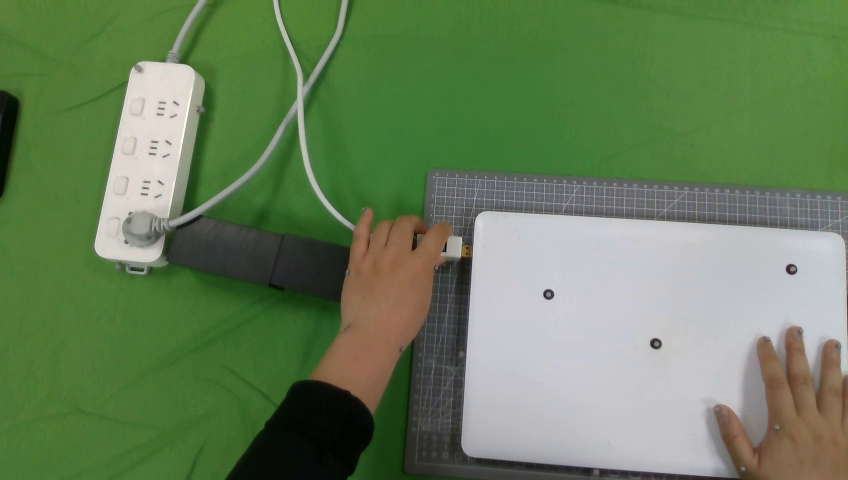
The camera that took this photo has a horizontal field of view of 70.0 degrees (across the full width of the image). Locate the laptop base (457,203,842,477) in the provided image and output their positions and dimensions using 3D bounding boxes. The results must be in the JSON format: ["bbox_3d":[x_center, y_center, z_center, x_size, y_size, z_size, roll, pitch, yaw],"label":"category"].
[{"bbox_3d":[0.214,0.091,0.579,0.354,0.023,0.235,4,85,2],"label":"laptop base"}]

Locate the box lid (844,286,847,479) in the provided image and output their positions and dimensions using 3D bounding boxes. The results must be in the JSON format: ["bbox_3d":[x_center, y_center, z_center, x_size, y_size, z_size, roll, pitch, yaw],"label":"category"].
[{"bbox_3d":[0.520,0.219,0.552,0.263,0.015,0.370,3,81,2],"label":"box lid"}]

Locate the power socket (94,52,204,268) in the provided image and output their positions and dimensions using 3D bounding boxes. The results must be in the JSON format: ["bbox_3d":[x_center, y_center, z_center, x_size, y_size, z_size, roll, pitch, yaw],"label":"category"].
[{"bbox_3d":[-0.279,-0.085,0.619,0.072,0.033,0.226,7,81,2],"label":"power socket"}]

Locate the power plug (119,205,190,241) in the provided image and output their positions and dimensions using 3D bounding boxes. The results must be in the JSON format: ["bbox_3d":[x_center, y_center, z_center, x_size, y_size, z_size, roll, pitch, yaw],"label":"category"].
[{"bbox_3d":[-0.259,-0.010,0.586,0.072,0.053,0.035,20,79,3],"label":"power plug"}]

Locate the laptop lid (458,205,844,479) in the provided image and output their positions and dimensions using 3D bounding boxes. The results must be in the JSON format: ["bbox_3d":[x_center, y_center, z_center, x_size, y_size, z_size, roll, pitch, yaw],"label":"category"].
[{"bbox_3d":[0.214,0.092,0.569,0.356,0.013,0.241,5,84,3],"label":"laptop lid"}]

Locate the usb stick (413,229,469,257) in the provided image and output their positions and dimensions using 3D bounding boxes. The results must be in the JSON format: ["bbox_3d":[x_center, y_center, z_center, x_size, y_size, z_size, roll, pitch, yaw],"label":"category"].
[{"bbox_3d":[0.018,0.003,0.588,0.059,0.027,0.021,3,71,-7],"label":"usb stick"}]
